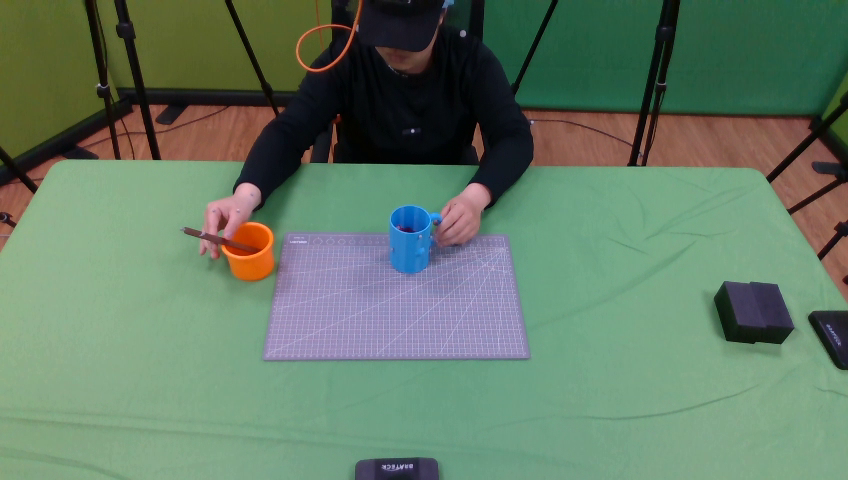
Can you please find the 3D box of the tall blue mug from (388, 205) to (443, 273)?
[{"bbox_3d":[-0.020,-0.010,1.144,0.077,0.108,0.107,23,49,18],"label":"tall blue mug"}]

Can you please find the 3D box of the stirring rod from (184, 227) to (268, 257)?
[{"bbox_3d":[-0.351,0.004,1.086,0.177,0.006,0.014,23,32,-50],"label":"stirring rod"}]
